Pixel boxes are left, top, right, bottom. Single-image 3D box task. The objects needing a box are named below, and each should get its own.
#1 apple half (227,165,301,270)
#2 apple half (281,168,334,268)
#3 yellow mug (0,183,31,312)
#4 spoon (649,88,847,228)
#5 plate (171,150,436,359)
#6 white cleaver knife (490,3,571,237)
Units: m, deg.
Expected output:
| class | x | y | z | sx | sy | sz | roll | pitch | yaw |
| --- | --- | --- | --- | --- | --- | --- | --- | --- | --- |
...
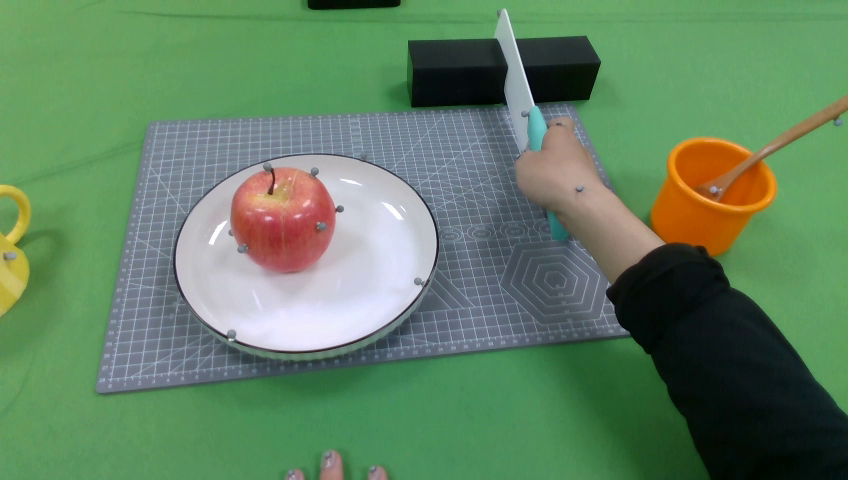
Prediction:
| class | x | y | z | sx | sy | sz | roll | pitch | yaw |
| --- | --- | --- | --- | --- | --- | --- | --- | --- | --- |
| apple half | -0.127 | -0.018 | 0.483 | 0.053 | 0.075 | 0.080 | 3 | 54 | 3 |
| apple half | -0.088 | -0.015 | 0.483 | 0.033 | 0.082 | 0.080 | 2 | 51 | 4 |
| yellow mug | -0.360 | 0.005 | 0.464 | 0.099 | 0.064 | 0.130 | 23 | 52 | 13 |
| spoon | 0.286 | -0.071 | 0.528 | 0.022 | 0.194 | 0.041 | 29 | 33 | -41 |
| plate | -0.095 | 0.009 | 0.498 | 0.209 | 0.038 | 0.207 | 3 | 51 | -3 |
| white cleaver knife | 0.100 | -0.124 | 0.602 | 0.021 | 0.066 | 0.283 | -4 | 59 | -6 |
